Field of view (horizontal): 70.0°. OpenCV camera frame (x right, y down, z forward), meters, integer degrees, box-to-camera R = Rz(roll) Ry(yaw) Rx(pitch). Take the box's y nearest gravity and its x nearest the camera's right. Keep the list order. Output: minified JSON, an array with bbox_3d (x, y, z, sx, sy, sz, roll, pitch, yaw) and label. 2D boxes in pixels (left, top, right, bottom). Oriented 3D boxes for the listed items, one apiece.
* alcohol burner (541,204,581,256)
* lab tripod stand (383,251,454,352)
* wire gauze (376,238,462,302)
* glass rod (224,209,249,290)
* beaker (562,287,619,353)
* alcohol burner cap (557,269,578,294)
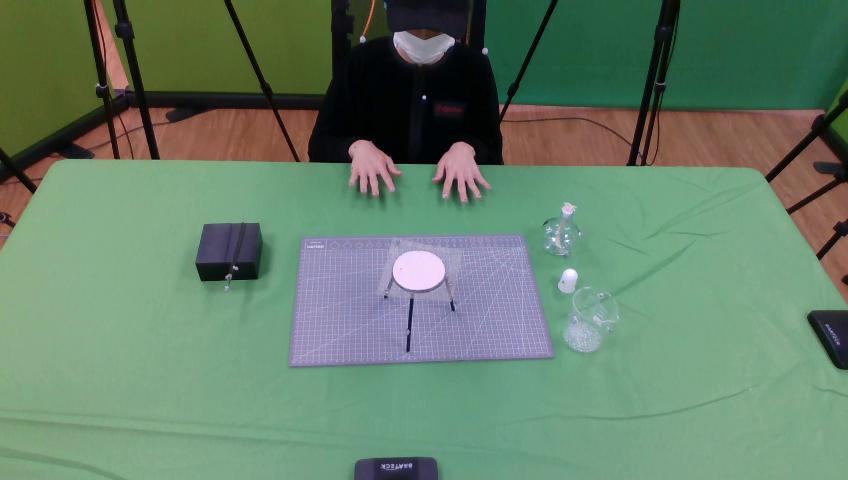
[{"bbox_3d":[0.271,-0.026,1.182,0.078,0.119,0.077,4,46,-3],"label":"alcohol burner"},{"bbox_3d":[-0.015,0.094,1.025,0.148,0.132,0.147,1,46,-1],"label":"lab tripod stand"},{"bbox_3d":[-0.006,0.048,0.977,0.121,0.011,0.124,9,46,5],"label":"wire gauze"},{"bbox_3d":[-0.340,0.013,1.102,0.008,0.008,0.198,2,45,-3],"label":"glass rod"},{"bbox_3d":[0.281,0.140,1.032,0.083,0.101,0.074,33,53,24],"label":"beaker"},{"bbox_3d":[0.270,0.075,1.135,0.034,0.048,0.033,2,46,-2],"label":"alcohol burner cap"}]
